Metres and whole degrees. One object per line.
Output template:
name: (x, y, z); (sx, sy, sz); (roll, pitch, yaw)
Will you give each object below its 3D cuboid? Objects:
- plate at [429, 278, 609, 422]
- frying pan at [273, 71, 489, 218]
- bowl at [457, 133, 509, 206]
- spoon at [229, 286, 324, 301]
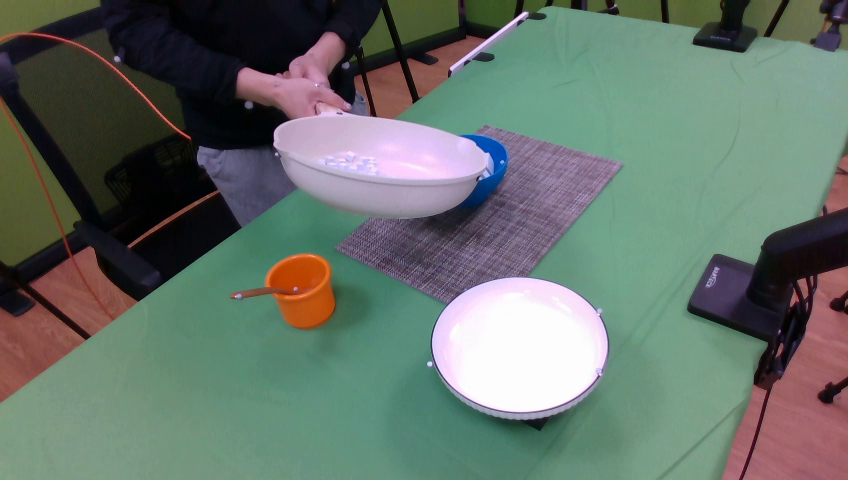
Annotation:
plate: (0.111, 0.129, 0.716); (0.207, 0.039, 0.206); (-5, 39, 4)
frying pan: (-0.112, -0.163, 0.908); (0.309, 0.103, 0.483); (-7, 37, -33)
bowl: (0.071, -0.112, 1.038); (0.151, 0.077, 0.150); (-4, 41, 4)
spoon: (-0.197, 0.071, 0.816); (0.041, 0.195, 0.021); (12, 88, 23)
